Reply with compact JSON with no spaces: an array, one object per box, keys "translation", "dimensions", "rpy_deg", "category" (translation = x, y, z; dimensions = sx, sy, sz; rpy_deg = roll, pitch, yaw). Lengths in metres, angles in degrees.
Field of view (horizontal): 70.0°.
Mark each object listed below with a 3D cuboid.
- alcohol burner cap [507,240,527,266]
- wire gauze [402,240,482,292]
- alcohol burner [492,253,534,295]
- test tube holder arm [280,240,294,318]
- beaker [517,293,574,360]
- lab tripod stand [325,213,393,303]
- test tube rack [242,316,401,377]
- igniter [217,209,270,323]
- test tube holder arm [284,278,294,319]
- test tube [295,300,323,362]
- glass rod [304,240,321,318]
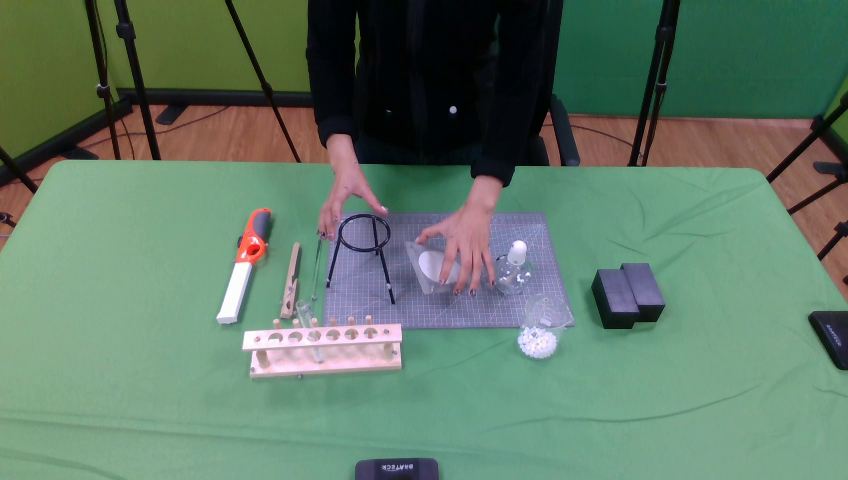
[{"translation":[0.167,0.021,1.075],"dimensions":[0.034,0.048,0.033],"rpy_deg":[0,55,0],"category":"alcohol burner cap"},{"translation":[0.032,0.043,1.086],"dimensions":[0.122,0.011,0.124],"rpy_deg":[1,43,-31],"category":"wire gauze"},{"translation":[0.165,0.045,1.102],"dimensions":[0.078,0.119,0.077],"rpy_deg":[3,47,-3],"category":"alcohol burner"},{"translation":[-0.251,0.068,1.113],"dimensions":[0.013,0.015,0.177],"rpy_deg":[28,37,-33],"category":"test tube holder arm"},{"translation":[0.200,0.149,1.018],"dimensions":[0.084,0.101,0.073],"rpy_deg":[14,47,8],"category":"beaker"},{"translation":[-0.104,0.031,1.080],"dimensions":[0.148,0.132,0.147],"rpy_deg":[4,45,-3],"category":"lab tripod stand"},{"translation":[-0.161,0.166,0.983],"dimensions":[0.242,0.085,0.066],"rpy_deg":[-2,46,-6],"category":"test tube rack"},{"translation":[-0.335,0.039,1.132],"dimensions":[0.057,0.025,0.275],"rpy_deg":[-3,46,6],"category":"igniter"},{"translation":[-0.243,0.103,1.085],"dimensions":[0.010,0.015,0.087],"rpy_deg":[30,36,-31],"category":"test tube holder arm"},{"translation":[-0.176,0.143,0.935],"dimensions":[0.017,0.151,0.017],"rpy_deg":[-2,46,2],"category":"test tube"},{"translation":[-0.207,0.068,1.128],"dimensions":[0.008,0.008,0.198],"rpy_deg":[2,43,-2],"category":"glass rod"}]
